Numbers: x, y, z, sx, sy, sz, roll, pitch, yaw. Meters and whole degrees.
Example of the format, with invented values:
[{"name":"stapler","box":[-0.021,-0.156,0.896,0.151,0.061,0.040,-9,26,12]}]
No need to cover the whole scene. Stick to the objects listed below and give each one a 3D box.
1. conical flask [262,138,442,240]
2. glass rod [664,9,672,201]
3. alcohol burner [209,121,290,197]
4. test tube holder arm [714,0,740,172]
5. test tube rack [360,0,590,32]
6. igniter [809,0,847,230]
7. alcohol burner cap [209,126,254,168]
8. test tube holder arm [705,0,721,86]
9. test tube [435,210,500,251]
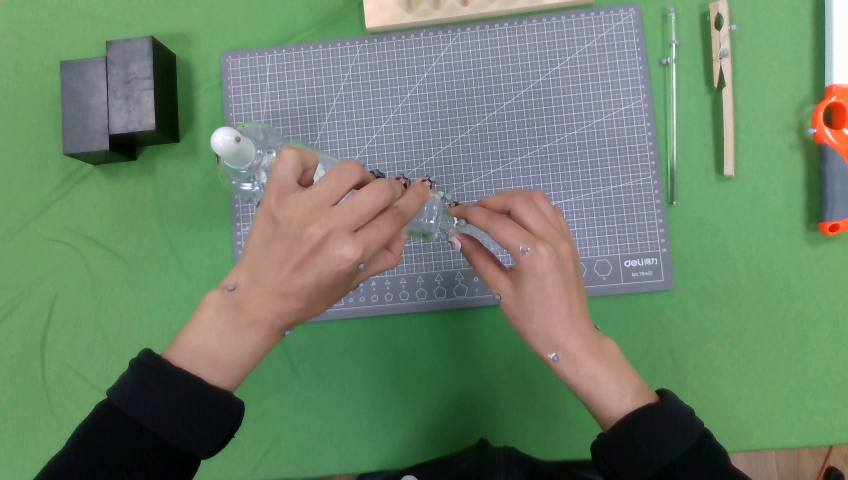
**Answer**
[{"name":"conical flask","box":[-0.050,-0.029,0.446,0.122,0.075,0.075,11,86,5]},{"name":"glass rod","box":[0.250,-0.139,0.622,0.008,0.008,0.199,1,88,4]},{"name":"alcohol burner","box":[-0.177,-0.083,0.595,0.078,0.119,0.077,-1,85,7]},{"name":"test tube holder arm","box":[0.305,-0.158,0.613,0.013,0.015,0.178,-8,84,41]},{"name":"test tube rack","box":[0.049,-0.275,0.609,0.242,0.085,0.066,-7,85,4]},{"name":"igniter","box":[0.410,-0.146,0.601,0.057,0.025,0.276,3,86,-5]},{"name":"alcohol burner cap","box":[-0.180,-0.088,0.559,0.034,0.048,0.033,0,81,1]},{"name":"test tube holder arm","box":[0.298,-0.202,0.620,0.010,0.015,0.087,-7,85,41]},{"name":"test tube","box":[0.041,-0.006,0.525,0.017,0.151,0.017,-3,81,21]}]
